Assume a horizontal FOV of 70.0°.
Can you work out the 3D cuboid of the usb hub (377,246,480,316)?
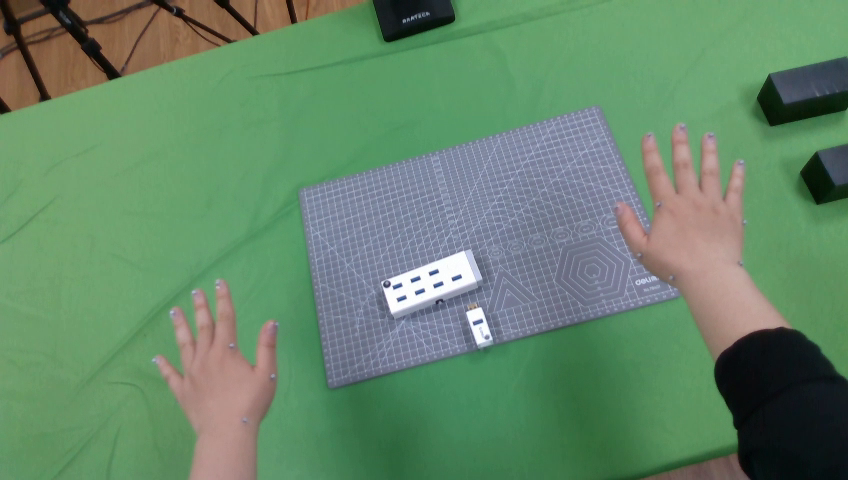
[{"bbox_3d":[0.005,0.052,0.780,0.125,0.025,0.049,-21,65,0],"label":"usb hub"}]

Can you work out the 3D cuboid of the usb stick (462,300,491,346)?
[{"bbox_3d":[0.063,0.100,0.750,0.021,0.027,0.058,-21,62,4],"label":"usb stick"}]
